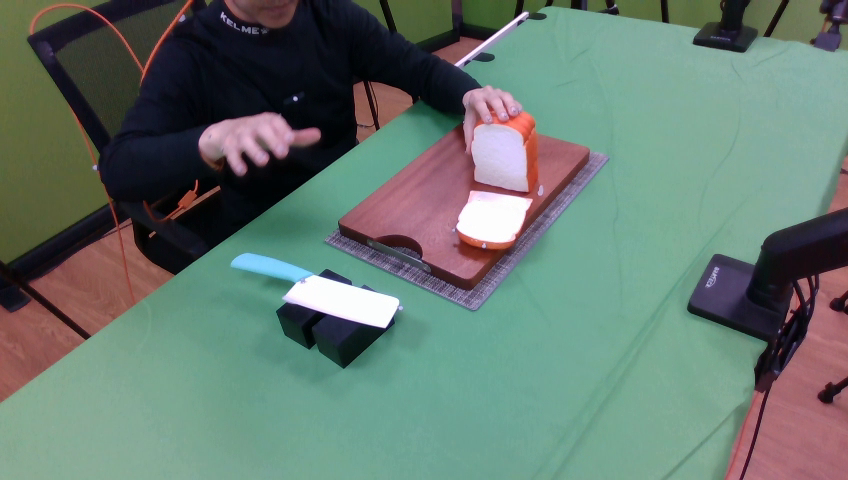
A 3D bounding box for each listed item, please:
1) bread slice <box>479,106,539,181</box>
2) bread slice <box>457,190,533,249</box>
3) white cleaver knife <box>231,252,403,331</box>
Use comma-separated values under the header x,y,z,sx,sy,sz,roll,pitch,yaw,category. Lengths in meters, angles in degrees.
x,y,z,sx,sy,sz,roll,pitch,yaw,category
0.142,-0.160,1.008,0.106,0.135,0.018,17,50,21,bread slice
0.106,-0.032,0.945,0.104,0.019,0.131,12,40,16,bread slice
-0.163,0.068,0.849,0.284,0.021,0.066,13,45,25,white cleaver knife
